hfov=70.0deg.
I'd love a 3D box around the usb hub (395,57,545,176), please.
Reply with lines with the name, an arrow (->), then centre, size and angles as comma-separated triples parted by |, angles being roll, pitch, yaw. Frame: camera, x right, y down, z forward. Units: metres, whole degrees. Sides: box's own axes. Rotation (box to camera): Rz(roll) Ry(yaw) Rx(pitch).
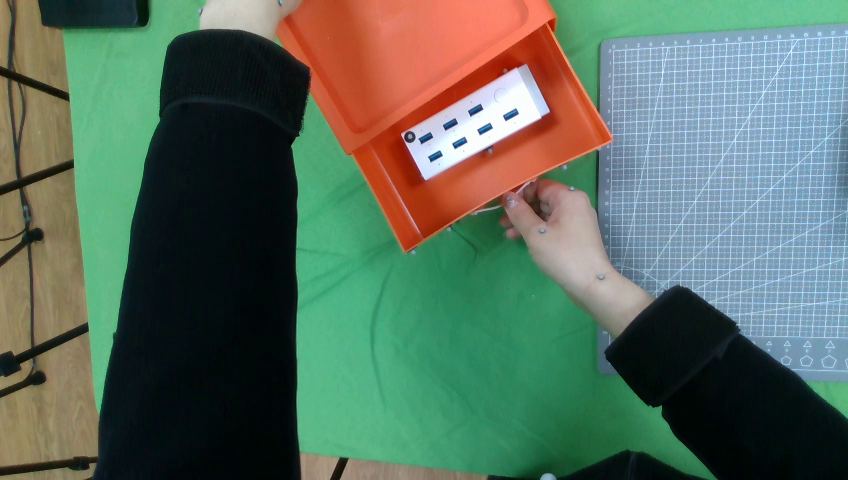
usb hub -> 0.040, -0.107, 0.534 | 0.125, 0.025, 0.049 | -28, 92, 14

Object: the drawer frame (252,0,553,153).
drawer frame -> -0.032, -0.213, 0.505 | 0.201, 0.082, 0.213 | -31, 92, 15

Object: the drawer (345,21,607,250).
drawer -> 0.018, -0.129, 0.516 | 0.194, 0.073, 0.212 | -28, 93, 15
